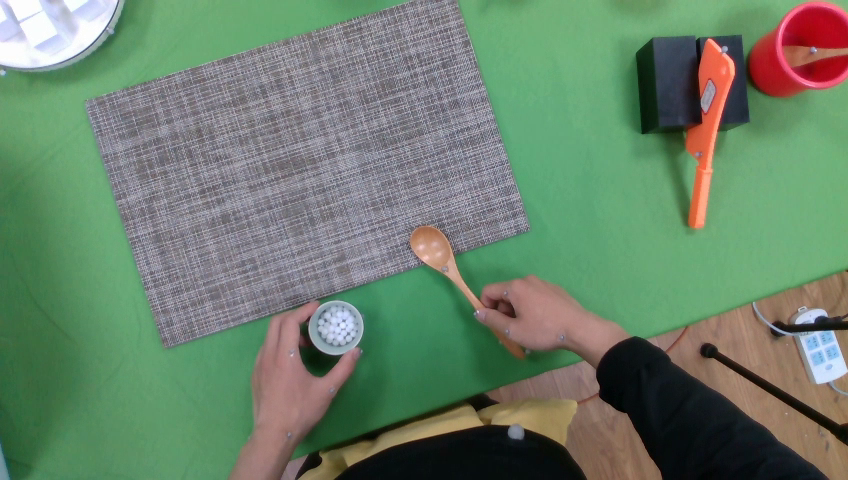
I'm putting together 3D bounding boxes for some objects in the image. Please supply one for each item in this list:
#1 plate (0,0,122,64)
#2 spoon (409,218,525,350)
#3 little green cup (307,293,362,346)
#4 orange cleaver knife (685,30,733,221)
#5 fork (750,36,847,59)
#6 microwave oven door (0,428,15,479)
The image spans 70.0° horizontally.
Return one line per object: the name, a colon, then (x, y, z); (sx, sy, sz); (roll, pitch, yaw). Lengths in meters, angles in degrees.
plate: (-0.438, -0.299, 0.683); (0.208, 0.039, 0.207); (0, 90, -2)
spoon: (0.051, 0.053, 0.700); (0.041, 0.021, 0.193); (-39, 85, 7)
little green cup: (-0.100, 0.090, 0.697); (0.061, 0.038, 0.061); (0, 88, -1)
orange cleaver knife: (0.316, -0.126, 0.693); (0.012, 0.076, 0.213); (-3, 119, 0)
fork: (0.475, -0.218, 0.668); (0.206, 0.019, 0.028); (10, 86, 39)
microwave oven door: (-0.515, 0.108, 0.559); (0.039, 0.243, 0.355); (-15, 90, -2)
